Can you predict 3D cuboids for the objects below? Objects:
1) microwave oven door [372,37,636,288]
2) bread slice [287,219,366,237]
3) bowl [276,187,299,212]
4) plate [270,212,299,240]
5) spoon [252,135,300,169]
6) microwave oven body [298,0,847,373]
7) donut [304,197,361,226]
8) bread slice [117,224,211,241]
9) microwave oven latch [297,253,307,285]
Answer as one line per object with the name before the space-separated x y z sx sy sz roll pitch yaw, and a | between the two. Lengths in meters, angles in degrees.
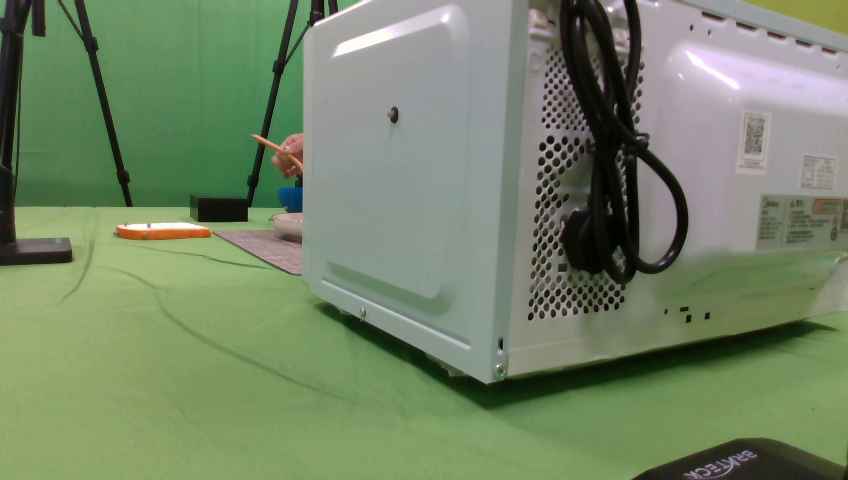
microwave oven door | 0.110 -0.080 0.686 0.358 0.243 0.039 -2 9 -33
bread slice | -0.170 -0.021 1.056 0.134 0.018 0.107 2 7 -6
bowl | -0.241 -0.073 1.302 0.151 0.077 0.151 2 7 0
plate | -0.162 -0.022 1.058 0.208 0.039 0.207 2 7 0
spoon | -0.244 -0.149 1.116 0.193 0.021 0.042 37 24 16
microwave oven body | 0.151 -0.055 0.543 0.444 0.260 0.324 -1 7 -33
donut | -0.159 -0.050 1.055 0.099 0.048 0.099 3 8 0
bread slice | -0.443 -0.015 1.022 0.132 0.019 0.104 -3 8 -45
microwave oven latch | -0.082 0.027 0.582 0.079 0.029 0.030 -1 7 -32
